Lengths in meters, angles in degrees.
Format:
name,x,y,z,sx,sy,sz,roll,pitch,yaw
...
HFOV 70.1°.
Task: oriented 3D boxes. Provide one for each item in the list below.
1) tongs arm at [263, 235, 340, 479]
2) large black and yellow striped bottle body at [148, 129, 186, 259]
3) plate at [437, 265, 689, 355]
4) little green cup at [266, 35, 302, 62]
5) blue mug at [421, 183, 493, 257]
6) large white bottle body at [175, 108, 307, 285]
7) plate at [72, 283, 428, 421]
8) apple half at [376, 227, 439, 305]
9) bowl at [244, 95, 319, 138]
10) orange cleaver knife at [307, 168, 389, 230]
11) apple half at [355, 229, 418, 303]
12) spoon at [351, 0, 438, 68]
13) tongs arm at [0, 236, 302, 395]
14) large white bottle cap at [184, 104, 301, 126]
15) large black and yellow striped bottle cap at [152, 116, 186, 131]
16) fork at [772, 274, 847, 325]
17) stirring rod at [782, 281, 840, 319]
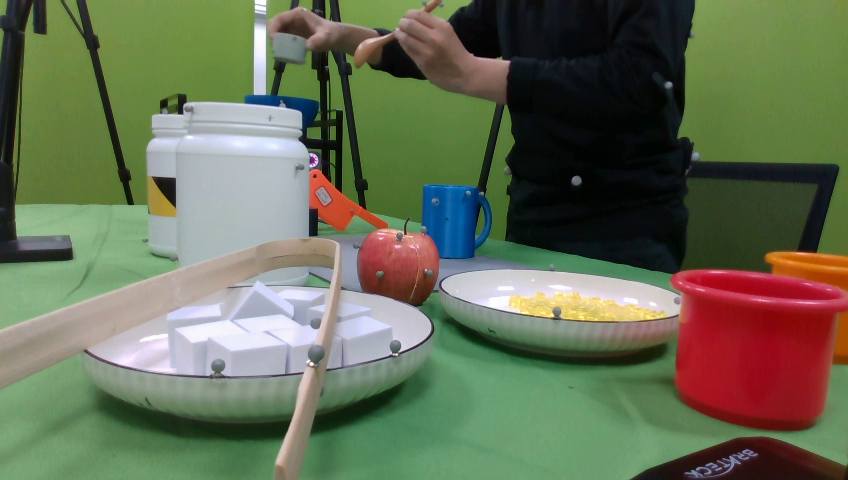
name,x,y,z,sx,sy,sz,roll,pitch,yaw
tongs arm,-0.074,0.039,0.349,0.051,0.026,0.384,-2,9,-3
large black and yellow striped bottle body,-0.310,-0.073,0.838,0.131,0.184,0.130,2,8,0
plate,0.114,0.057,0.517,0.209,0.038,0.209,3,8,0
little green cup,-0.242,-0.331,1.045,0.061,0.038,0.061,8,16,-2
blue mug,0.052,-0.032,0.912,0.117,0.106,0.082,-1,8,-24
large white bottle body,-0.188,-0.042,0.630,0.131,0.184,0.130,2,8,0
plate,-0.102,0.066,0.381,0.208,0.039,0.207,2,7,0
apple half,-0.016,0.025,0.593,0.080,0.074,0.053,4,2,43
bowl,-0.293,-0.251,1.249,0.151,0.077,0.151,2,8,0
orange cleaver knife,-0.158,-0.060,1.166,0.212,0.077,0.012,34,-13,-32
apple half,-0.043,0.027,0.564,0.081,0.081,0.033,9,5,42
spoon,-0.049,-0.320,0.931,0.193,0.041,0.022,-21,-30,35
tongs arm,-0.158,0.038,0.351,0.028,0.028,0.388,-3,8,11
large white bottle cap,-0.184,-0.126,0.618,0.115,0.018,0.115,2,8,0
large black and yellow striped bottle cap,-0.309,-0.155,0.826,0.115,0.019,0.115,3,6,0
fork,0.332,0.018,0.443,0.028,0.018,0.207,-1,-36,-15
stirring rod,0.344,0.019,0.460,0.014,0.006,0.176,-13,-27,-30
